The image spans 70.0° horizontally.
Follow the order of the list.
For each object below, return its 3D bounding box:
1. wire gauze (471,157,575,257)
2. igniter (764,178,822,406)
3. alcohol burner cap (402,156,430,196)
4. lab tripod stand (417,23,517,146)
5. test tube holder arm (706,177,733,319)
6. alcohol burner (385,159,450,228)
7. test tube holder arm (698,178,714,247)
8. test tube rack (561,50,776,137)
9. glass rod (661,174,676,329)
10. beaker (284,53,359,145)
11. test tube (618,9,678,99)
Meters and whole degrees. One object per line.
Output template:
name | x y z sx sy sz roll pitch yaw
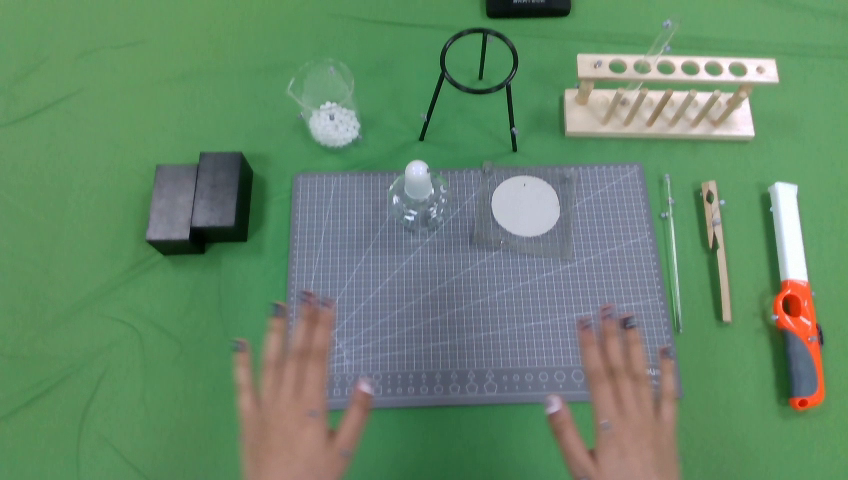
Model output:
wire gauze | 0.126 -0.045 0.758 0.125 0.011 0.121 9 71 3
igniter | 0.432 0.055 0.712 0.057 0.025 0.274 9 70 -8
alcohol burner cap | -0.009 -0.074 0.674 0.034 0.048 0.033 0 63 0
lab tripod stand | 0.059 -0.186 0.747 0.148 0.132 0.147 0 71 1
test tube holder arm | 0.356 0.007 0.733 0.013 0.015 0.177 -14 65 33
alcohol burner | -0.009 -0.060 0.707 0.078 0.120 0.077 -1 69 3
test tube holder arm | 0.352 -0.034 0.752 0.010 0.015 0.087 -13 66 34
test tube rack | 0.305 -0.185 0.771 0.242 0.086 0.066 2 69 1
glass rod | 0.298 0.010 0.739 0.008 0.008 0.198 4 72 1
beaker | -0.124 -0.171 0.760 0.084 0.101 0.073 -9 69 -2
test tube | 0.267 -0.219 0.732 0.017 0.151 0.017 2 67 -3
